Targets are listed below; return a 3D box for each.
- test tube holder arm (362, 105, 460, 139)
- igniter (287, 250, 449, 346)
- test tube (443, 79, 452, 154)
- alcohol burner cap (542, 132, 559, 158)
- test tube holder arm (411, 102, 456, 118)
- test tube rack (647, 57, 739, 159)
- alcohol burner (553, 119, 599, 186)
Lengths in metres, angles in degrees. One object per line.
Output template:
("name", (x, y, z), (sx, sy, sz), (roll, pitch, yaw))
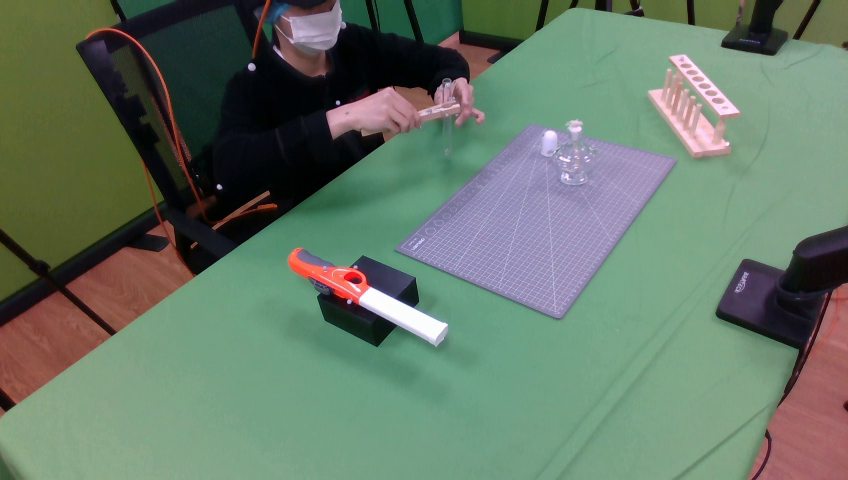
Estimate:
("test tube holder arm", (-0.020, -0.201, 1.022), (0.179, 0.015, 0.013), (-19, 40, -18))
("igniter", (-0.087, 0.073, 0.825), (0.274, 0.025, 0.057), (23, 48, 28))
("test tube", (0.041, -0.213, 1.060), (0.017, 0.151, 0.017), (-1, 46, 2))
("alcohol burner cap", (0.238, -0.180, 1.134), (0.034, 0.048, 0.033), (-5, 41, 5))
("test tube holder arm", (0.017, -0.219, 1.042), (0.088, 0.015, 0.010), (-24, 42, -23))
("test tube rack", (0.504, -0.257, 1.153), (0.067, 0.085, 0.241), (-8, 40, 1))
("alcohol burner", (0.261, -0.153, 1.042), (0.078, 0.119, 0.077), (-6, 40, 6))
